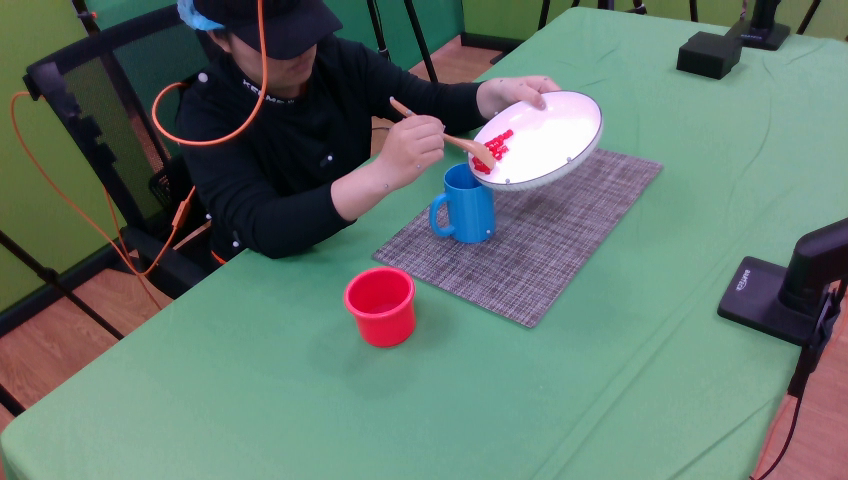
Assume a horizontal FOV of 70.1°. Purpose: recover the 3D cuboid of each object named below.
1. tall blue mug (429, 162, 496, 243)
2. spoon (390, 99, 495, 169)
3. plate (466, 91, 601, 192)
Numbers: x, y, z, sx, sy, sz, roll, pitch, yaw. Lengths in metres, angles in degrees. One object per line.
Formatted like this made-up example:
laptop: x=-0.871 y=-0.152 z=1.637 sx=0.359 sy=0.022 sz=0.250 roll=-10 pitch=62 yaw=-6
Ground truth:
tall blue mug: x=0.067 y=-0.051 z=0.960 sx=0.077 sy=0.108 sz=0.107 roll=18 pitch=47 yaw=27
spoon: x=0.031 y=-0.156 z=0.893 sx=0.195 sy=0.021 sz=0.041 roll=23 pitch=45 yaw=-23
plate: x=0.166 y=-0.144 z=0.911 sx=0.207 sy=0.039 sz=0.206 roll=-19 pitch=40 yaw=18
